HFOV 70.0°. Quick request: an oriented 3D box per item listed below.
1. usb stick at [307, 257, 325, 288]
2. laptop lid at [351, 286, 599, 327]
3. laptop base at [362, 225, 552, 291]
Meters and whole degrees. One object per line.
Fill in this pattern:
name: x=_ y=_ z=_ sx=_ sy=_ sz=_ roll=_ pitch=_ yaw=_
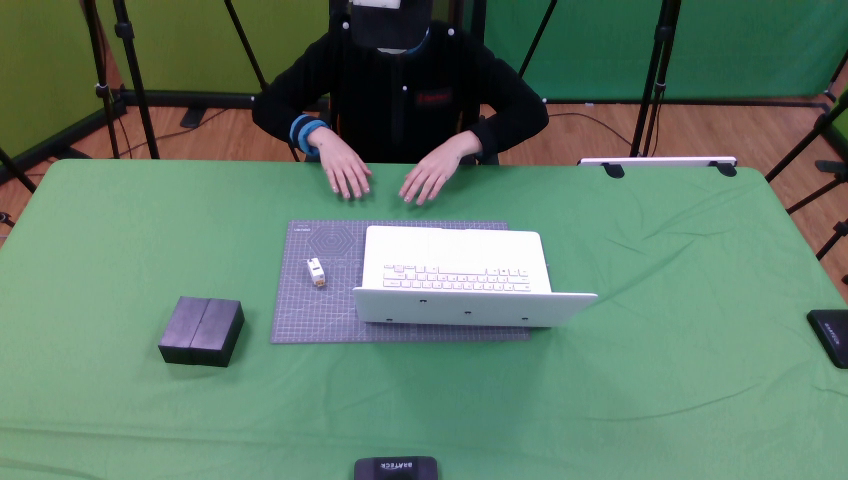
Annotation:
usb stick: x=-0.198 y=0.062 z=1.116 sx=0.021 sy=0.027 sz=0.059 roll=-15 pitch=52 yaw=-19
laptop lid: x=0.068 y=0.109 z=0.952 sx=0.357 sy=0.242 sz=0.013 roll=2 pitch=71 yaw=-4
laptop base: x=0.061 y=0.063 z=1.145 sx=0.354 sy=0.023 sz=0.234 roll=2 pitch=43 yaw=-3
